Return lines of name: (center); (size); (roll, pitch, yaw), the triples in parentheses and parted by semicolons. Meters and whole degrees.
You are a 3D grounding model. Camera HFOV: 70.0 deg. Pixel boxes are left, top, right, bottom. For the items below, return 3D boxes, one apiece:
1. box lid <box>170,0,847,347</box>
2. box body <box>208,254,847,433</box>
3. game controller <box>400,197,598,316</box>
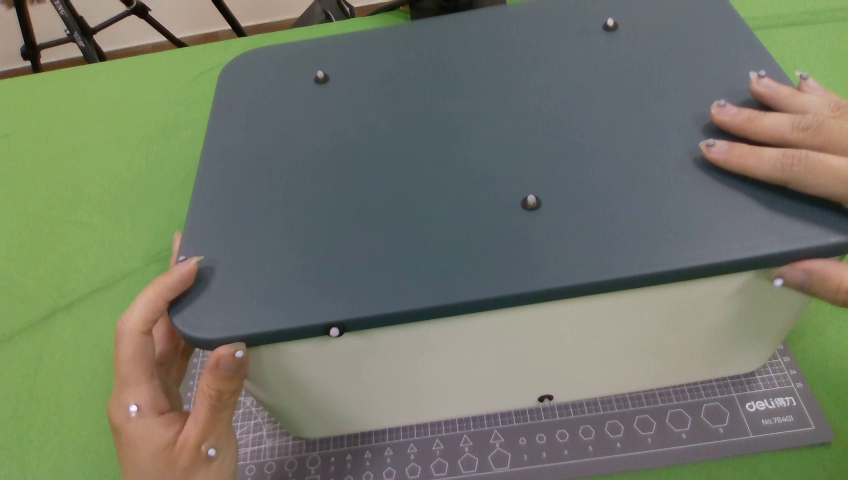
box lid: (0.037, -0.070, 0.379); (0.371, 0.015, 0.260); (-9, 50, 3)
box body: (0.051, -0.021, 0.438); (0.364, 0.162, 0.251); (-9, 50, 3)
game controller: (0.060, 0.006, 0.483); (0.155, 0.052, 0.096); (3, 48, 13)
